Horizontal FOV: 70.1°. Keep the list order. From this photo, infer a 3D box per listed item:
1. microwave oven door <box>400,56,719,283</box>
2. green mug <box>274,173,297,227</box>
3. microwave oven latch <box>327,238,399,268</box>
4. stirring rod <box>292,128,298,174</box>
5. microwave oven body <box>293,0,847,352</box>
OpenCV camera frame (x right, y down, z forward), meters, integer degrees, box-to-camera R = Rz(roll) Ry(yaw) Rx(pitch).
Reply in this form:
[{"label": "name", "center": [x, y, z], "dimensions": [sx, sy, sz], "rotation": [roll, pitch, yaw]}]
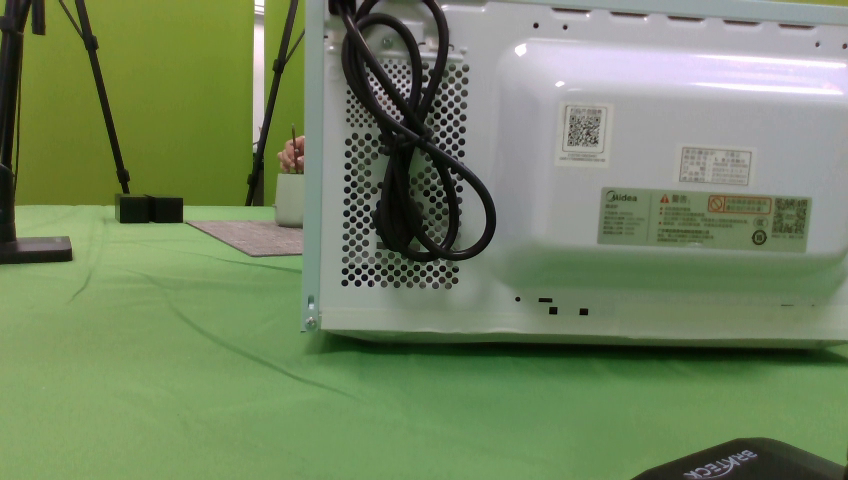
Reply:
[{"label": "microwave oven door", "center": [0.155, -0.078, 0.697], "dimensions": [0.356, 0.243, 0.039], "rotation": [2, 8, -5]}, {"label": "green mug", "center": [-0.242, -0.081, 1.221], "dimensions": [0.092, 0.105, 0.126], "rotation": [8, 9, 39]}, {"label": "microwave oven latch", "center": [-0.069, 0.014, 0.694], "dimensions": [0.079, 0.029, 0.030], "rotation": [3, 7, -3]}, {"label": "stirring rod", "center": [-0.257, -0.138, 1.220], "dimensions": [0.006, 0.176, 0.014], "rotation": [-4, 7, -7]}, {"label": "microwave oven body", "center": [0.122, -0.055, 0.550], "dimensions": [0.442, 0.260, 0.325], "rotation": [3, 7, -5]}]
